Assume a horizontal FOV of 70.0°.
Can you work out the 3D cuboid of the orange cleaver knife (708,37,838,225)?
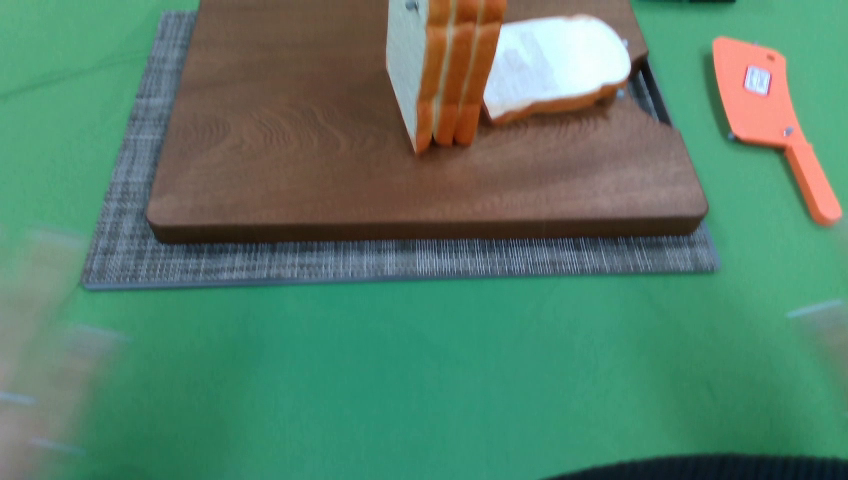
[{"bbox_3d":[0.297,-0.104,0.528,0.077,0.012,0.209,4,57,-4],"label":"orange cleaver knife"}]

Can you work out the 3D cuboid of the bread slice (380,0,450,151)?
[{"bbox_3d":[-0.009,-0.150,0.434,0.018,0.135,0.106,-8,50,-16],"label":"bread slice"}]
